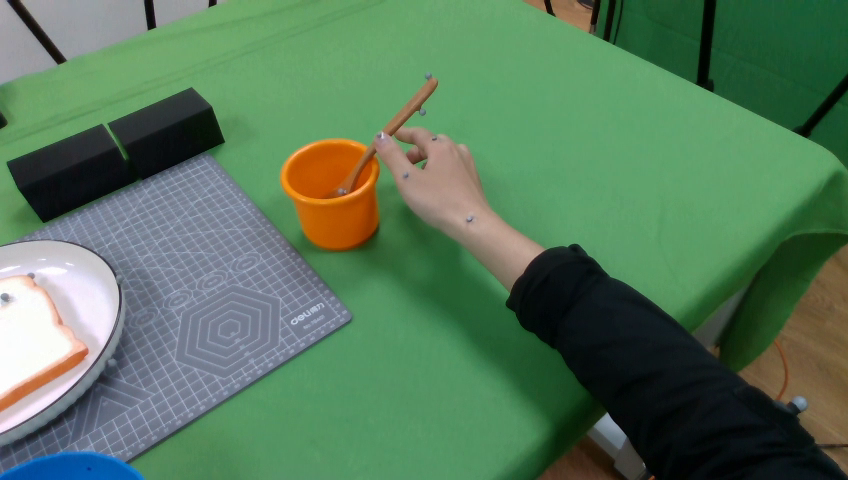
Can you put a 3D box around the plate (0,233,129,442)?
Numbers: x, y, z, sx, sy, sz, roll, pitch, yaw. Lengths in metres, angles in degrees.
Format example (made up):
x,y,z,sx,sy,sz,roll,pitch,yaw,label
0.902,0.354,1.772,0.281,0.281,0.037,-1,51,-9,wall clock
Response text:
x,y,z,sx,sy,sz,roll,pitch,yaw,label
-0.352,0.082,0.506,0.209,0.038,0.207,-1,49,2,plate

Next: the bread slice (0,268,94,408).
x,y,z,sx,sy,sz,roll,pitch,yaw,label
-0.357,0.082,0.510,0.133,0.018,0.107,37,60,28,bread slice

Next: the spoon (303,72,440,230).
x,y,z,sx,sy,sz,roll,pitch,yaw,label
-0.051,-0.080,0.566,0.022,0.194,0.041,17,34,-47,spoon

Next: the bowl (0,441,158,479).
x,y,z,sx,sy,sz,roll,pitch,yaw,label
-0.216,0.209,0.365,0.151,0.077,0.150,-1,48,2,bowl
